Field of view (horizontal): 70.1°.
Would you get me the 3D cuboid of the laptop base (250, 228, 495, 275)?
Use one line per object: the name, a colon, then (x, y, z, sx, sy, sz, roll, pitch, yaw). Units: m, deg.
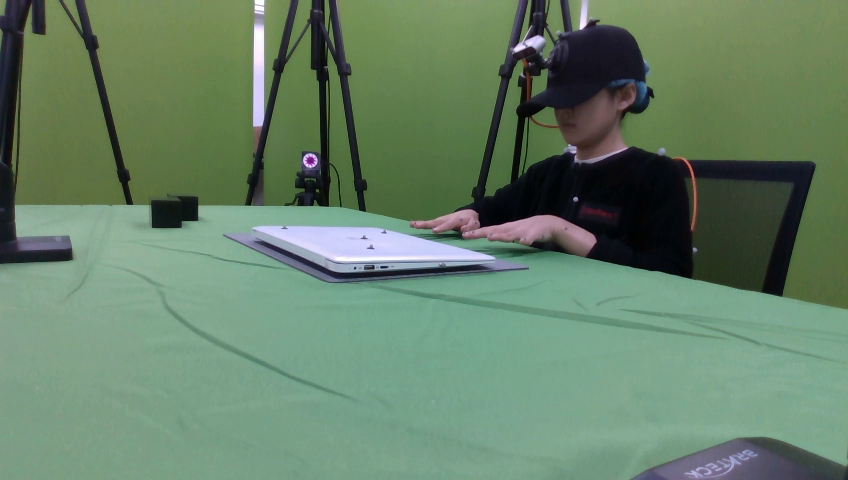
laptop base: (-0.093, 0.015, 0.884, 0.237, 0.023, 0.352, 3, 6, -32)

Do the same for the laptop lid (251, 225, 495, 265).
laptop lid: (-0.090, 0.004, 0.883, 0.243, 0.013, 0.355, 1, 7, -31)
